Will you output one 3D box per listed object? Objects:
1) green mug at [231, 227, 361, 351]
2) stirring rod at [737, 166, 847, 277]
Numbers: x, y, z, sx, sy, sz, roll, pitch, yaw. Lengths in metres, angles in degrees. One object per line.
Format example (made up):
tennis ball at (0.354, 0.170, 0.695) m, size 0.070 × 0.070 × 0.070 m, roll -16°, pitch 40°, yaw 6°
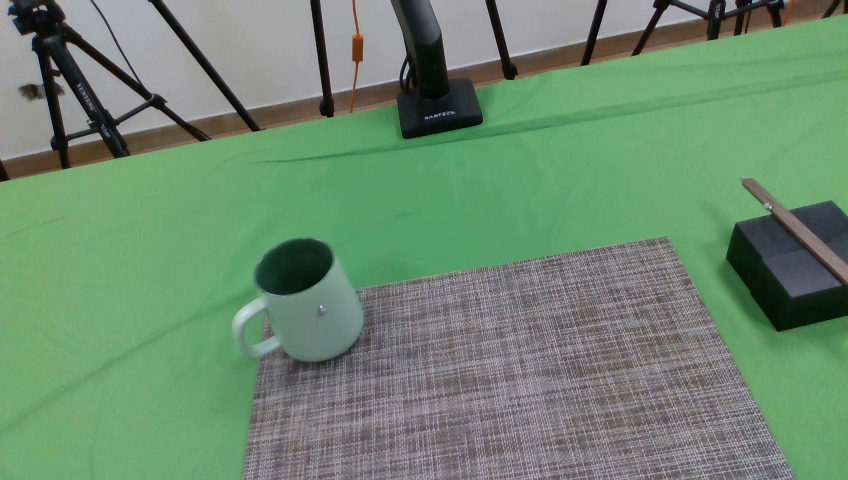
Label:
green mug at (-0.130, 0.059, 0.600) m, size 0.125 × 0.106 × 0.091 m, roll -34°, pitch 49°, yaw -20°
stirring rod at (0.355, -0.018, 0.574) m, size 0.014 × 0.006 × 0.174 m, roll -16°, pitch 45°, yaw -5°
